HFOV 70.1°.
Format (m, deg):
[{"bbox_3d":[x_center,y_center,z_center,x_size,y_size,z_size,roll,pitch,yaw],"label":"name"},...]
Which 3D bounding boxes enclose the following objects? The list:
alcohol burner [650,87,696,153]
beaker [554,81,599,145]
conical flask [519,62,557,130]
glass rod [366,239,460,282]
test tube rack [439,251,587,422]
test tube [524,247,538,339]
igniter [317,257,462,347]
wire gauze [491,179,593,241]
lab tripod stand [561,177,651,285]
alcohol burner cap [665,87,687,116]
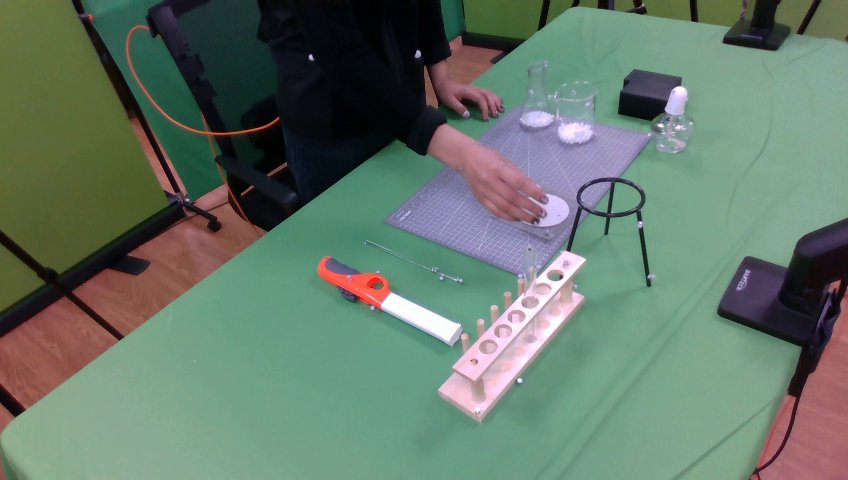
[{"bbox_3d":[0.448,-0.217,1.084,0.078,0.119,0.077,-6,38,5],"label":"alcohol burner"},{"bbox_3d":[0.286,-0.237,1.144,0.084,0.101,0.073,-17,40,-7],"label":"beaker"},{"bbox_3d":[0.225,-0.287,1.199,0.075,0.122,0.075,-6,40,5],"label":"conical flask"},{"bbox_3d":[-0.022,0.032,0.962,0.198,0.008,0.008,21,49,35],"label":"glass rod"},{"bbox_3d":[0.118,0.111,0.780,0.066,0.085,0.243,26,51,35],"label":"test tube rack"},{"bbox_3d":[0.133,0.070,0.749,0.017,0.151,0.017,-5,38,4],"label":"test tube"},{"bbox_3d":[-0.061,0.086,0.891,0.274,0.025,0.057,23,59,33],"label":"igniter"},{"bbox_3d":[0.198,-0.051,1.013,0.120,0.011,0.125,30,56,37],"label":"wire gauze"},{"bbox_3d":[0.263,-0.014,0.864,0.148,0.132,0.147,-7,38,6],"label":"lab tripod stand"},{"bbox_3d":[0.445,-0.244,1.060,0.034,0.048,0.033,-2,45,3],"label":"alcohol burner cap"}]
